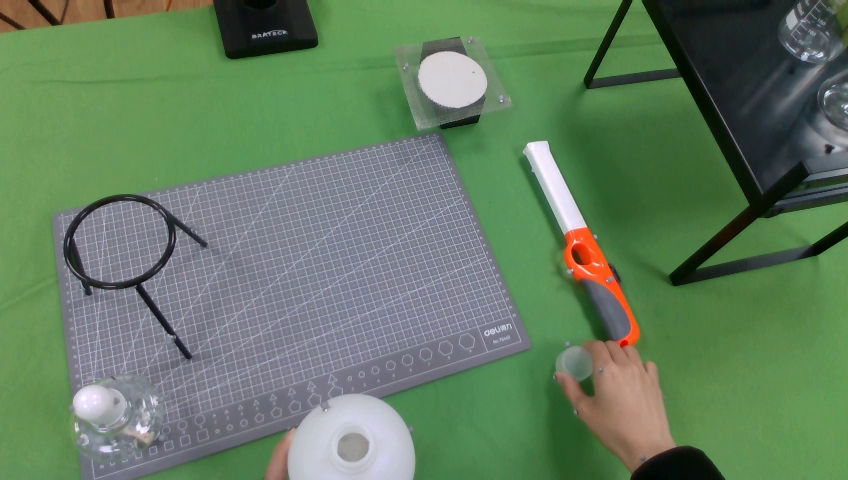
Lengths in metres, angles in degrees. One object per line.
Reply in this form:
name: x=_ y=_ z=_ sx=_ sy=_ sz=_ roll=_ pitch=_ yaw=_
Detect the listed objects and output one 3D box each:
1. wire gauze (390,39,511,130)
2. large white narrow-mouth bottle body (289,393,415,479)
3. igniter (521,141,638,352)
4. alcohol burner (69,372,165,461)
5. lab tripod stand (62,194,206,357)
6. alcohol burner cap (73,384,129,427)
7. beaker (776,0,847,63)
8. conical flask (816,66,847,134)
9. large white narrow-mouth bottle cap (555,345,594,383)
wire gauze: x=0.030 y=-0.196 z=0.742 sx=0.122 sy=0.011 sz=0.124 roll=-13 pitch=67 yaw=-14
large white narrow-mouth bottle body: x=-0.058 y=0.180 z=0.494 sx=0.102 sy=0.196 sz=0.101 roll=3 pitch=63 yaw=-5
igniter: x=0.180 y=-0.001 z=0.709 sx=0.057 sy=0.025 sz=0.274 roll=-10 pitch=66 yaw=-23
alcohol burner: x=-0.269 y=0.148 z=0.523 sx=0.078 sy=0.120 sz=0.077 roll=4 pitch=61 yaw=-7
lab tripod stand: x=-0.263 y=0.030 z=0.571 sx=0.149 sy=0.132 sz=0.147 roll=4 pitch=63 yaw=-8
alcohol burner cap: x=-0.264 y=0.133 z=0.490 sx=0.034 sy=0.048 sz=0.033 roll=3 pitch=69 yaw=-7
beaker: x=0.419 y=-0.241 z=0.619 sx=0.074 sy=0.101 sz=0.083 roll=-7 pitch=64 yaw=-11
conical flask: x=0.441 y=-0.160 z=0.569 sx=0.075 sy=0.122 sz=0.074 roll=3 pitch=63 yaw=-6
large white narrow-mouth bottle cap: x=0.157 y=0.130 z=0.634 sx=0.038 sy=0.024 sz=0.037 roll=3 pitch=63 yaw=-5
